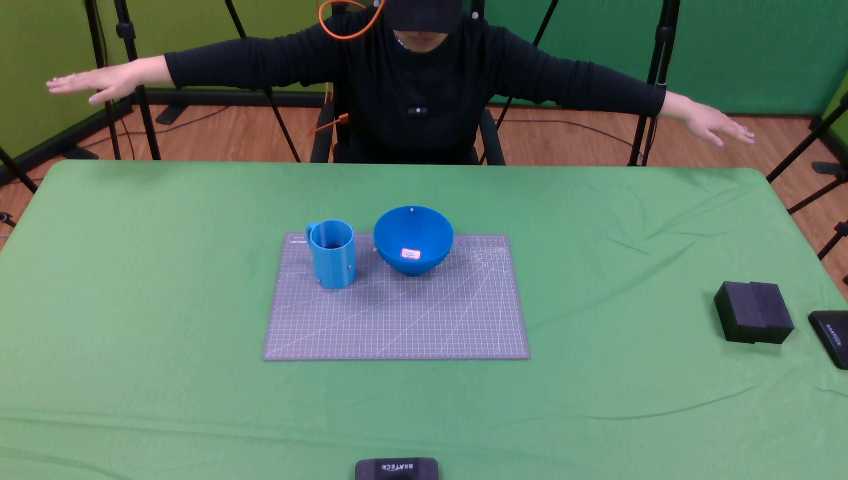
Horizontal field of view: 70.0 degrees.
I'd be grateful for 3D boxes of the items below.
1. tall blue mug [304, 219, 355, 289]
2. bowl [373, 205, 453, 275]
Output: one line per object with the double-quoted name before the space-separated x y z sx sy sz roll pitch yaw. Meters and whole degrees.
"tall blue mug" -0.180 0.022 1.099 0.107 0.108 0.077 15 48 10
"bowl" -0.022 0.013 1.142 0.151 0.077 0.150 2 46 -2
